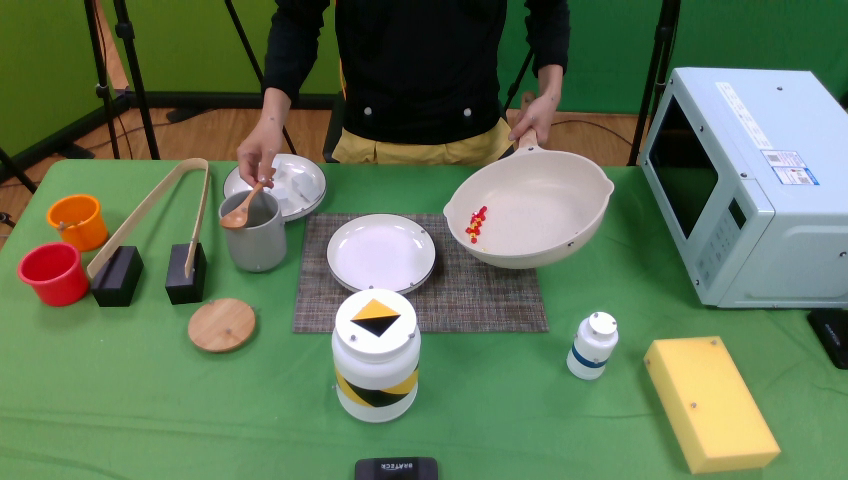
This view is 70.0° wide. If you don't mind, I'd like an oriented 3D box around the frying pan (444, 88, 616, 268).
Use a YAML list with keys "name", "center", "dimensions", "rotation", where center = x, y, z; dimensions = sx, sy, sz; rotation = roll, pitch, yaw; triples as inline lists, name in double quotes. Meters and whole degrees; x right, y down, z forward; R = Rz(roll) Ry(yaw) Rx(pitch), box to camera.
- name: "frying pan"
  center: [0.203, -0.136, 1.158]
  dimensions: [0.306, 0.103, 0.485]
  rotation: [-5, 50, 19]

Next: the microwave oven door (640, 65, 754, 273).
- name: "microwave oven door"
  center: [0.523, -0.147, 1.193]
  dimensions: [0.039, 0.245, 0.353]
  rotation: [0, 47, -3]

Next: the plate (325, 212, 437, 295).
- name: "plate"
  center: [-0.080, 0.030, 1.143]
  dimensions: [0.209, 0.038, 0.208]
  rotation: [2, 46, -2]

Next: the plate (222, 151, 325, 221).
- name: "plate"
  center: [-0.310, -0.106, 1.263]
  dimensions: [0.208, 0.039, 0.206]
  rotation: [2, 47, -2]

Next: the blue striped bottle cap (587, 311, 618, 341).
- name: "blue striped bottle cap"
  center: [0.279, 0.134, 0.947]
  dimensions: [0.044, 0.021, 0.044]
  rotation: [2, 45, -2]

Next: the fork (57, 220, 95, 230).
- name: "fork"
  center: [-0.624, -0.027, 1.086]
  dimensions: [0.028, 0.207, 0.018]
  rotation: [-2, 91, -17]

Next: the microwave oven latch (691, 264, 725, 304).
- name: "microwave oven latch"
  center: [0.521, 0.081, 1.116]
  dimensions: [0.030, 0.029, 0.078]
  rotation: [0, 46, -3]

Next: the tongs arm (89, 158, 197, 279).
- name: "tongs arm"
  center: [-0.530, -0.057, 1.164]
  dimensions: [0.028, 0.028, 0.385]
  rotation: [1, 36, 8]

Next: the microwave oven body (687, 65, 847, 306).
- name: "microwave oven body"
  center: [0.669, -0.111, 1.176]
  dimensions: [0.326, 0.261, 0.439]
  rotation: [0, 46, -3]

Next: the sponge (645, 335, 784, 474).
- name: "sponge"
  center: [0.449, 0.253, 0.956]
  dimensions: [0.118, 0.061, 0.205]
  rotation: [-4, 46, -7]

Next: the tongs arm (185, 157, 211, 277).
- name: "tongs arm"
  center: [-0.446, -0.057, 1.168]
  dimensions: [0.051, 0.026, 0.382]
  rotation: [-5, 37, -6]

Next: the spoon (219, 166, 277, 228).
- name: "spoon"
  center: [-0.306, -0.080, 1.081]
  dimensions: [0.041, 0.022, 0.193]
  rotation: [14, 45, 7]

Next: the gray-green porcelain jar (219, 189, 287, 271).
- name: "gray-green porcelain jar"
  center: [-0.310, -0.014, 1.113]
  dimensions: [0.106, 0.127, 0.105]
  rotation: [2, 46, -2]

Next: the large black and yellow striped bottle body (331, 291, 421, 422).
- name: "large black and yellow striped bottle body"
  center: [-0.071, 0.175, 0.911]
  dimensions: [0.131, 0.185, 0.130]
  rotation: [2, 47, -2]

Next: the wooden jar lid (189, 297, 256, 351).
- name: "wooden jar lid"
  center: [-0.342, 0.145, 1.033]
  dimensions: [0.108, 0.021, 0.107]
  rotation: [3, 45, -2]

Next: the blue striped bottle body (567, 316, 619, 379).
- name: "blue striped bottle body"
  center: [0.276, 0.168, 0.984]
  dimensions: [0.063, 0.121, 0.062]
  rotation: [2, 46, -2]

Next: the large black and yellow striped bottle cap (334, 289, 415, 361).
- name: "large black and yellow striped bottle cap"
  center: [-0.069, 0.117, 0.850]
  dimensions: [0.115, 0.019, 0.114]
  rotation: [2, 45, -2]
